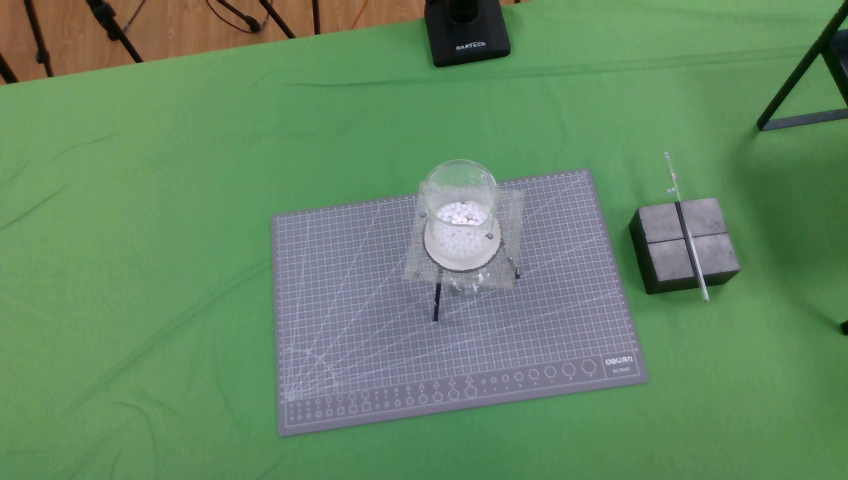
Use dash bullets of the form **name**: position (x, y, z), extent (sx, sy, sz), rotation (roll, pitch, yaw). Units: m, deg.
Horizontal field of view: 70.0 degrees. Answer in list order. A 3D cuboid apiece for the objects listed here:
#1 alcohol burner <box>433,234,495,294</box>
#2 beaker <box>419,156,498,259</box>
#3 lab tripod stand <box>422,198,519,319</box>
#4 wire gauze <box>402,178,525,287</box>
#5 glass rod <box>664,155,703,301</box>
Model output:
- **alcohol burner**: position (0.048, 0.023, 0.740), extent (0.078, 0.120, 0.077), rotation (-2, 68, 5)
- **beaker**: position (0.040, -0.027, 0.626), extent (0.074, 0.101, 0.083), rotation (-34, 69, -10)
- **lab tripod stand**: position (0.044, 0.015, 0.733), extent (0.148, 0.132, 0.147), rotation (-2, 67, 5)
- **wire gauze**: position (0.045, -0.010, 0.671), extent (0.121, 0.011, 0.124), rotation (8, 66, 6)
- **glass rod**: position (0.321, -0.019, 0.751), extent (0.008, 0.008, 0.198), rotation (-4, 68, 2)
